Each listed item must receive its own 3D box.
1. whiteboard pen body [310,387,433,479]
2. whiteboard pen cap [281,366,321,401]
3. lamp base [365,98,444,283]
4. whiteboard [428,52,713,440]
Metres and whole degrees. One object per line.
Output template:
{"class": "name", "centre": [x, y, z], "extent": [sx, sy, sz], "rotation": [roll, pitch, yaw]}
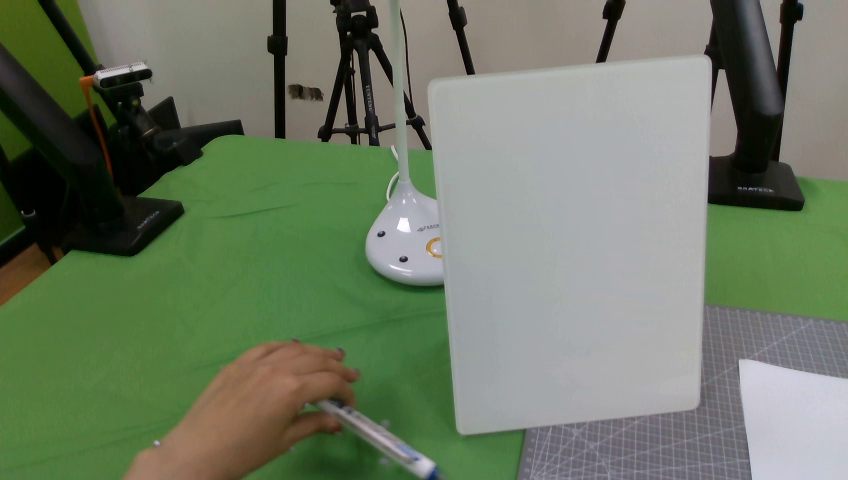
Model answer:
{"class": "whiteboard pen body", "centre": [-0.054, 0.154, 0.504], "extent": [0.140, 0.017, 0.017], "rotation": [32, 44, 9]}
{"class": "whiteboard pen cap", "centre": [-0.103, 0.122, 0.513], "extent": [0.033, 0.018, 0.018], "rotation": [31, 43, 7]}
{"class": "lamp base", "centre": [-0.004, -0.067, 0.721], "extent": [0.161, 0.182, 0.177], "rotation": [-22, 36, -24]}
{"class": "whiteboard", "centre": [0.121, -0.001, 0.554], "extent": [0.217, 0.307, 0.143], "rotation": [-6, 16, -1]}
